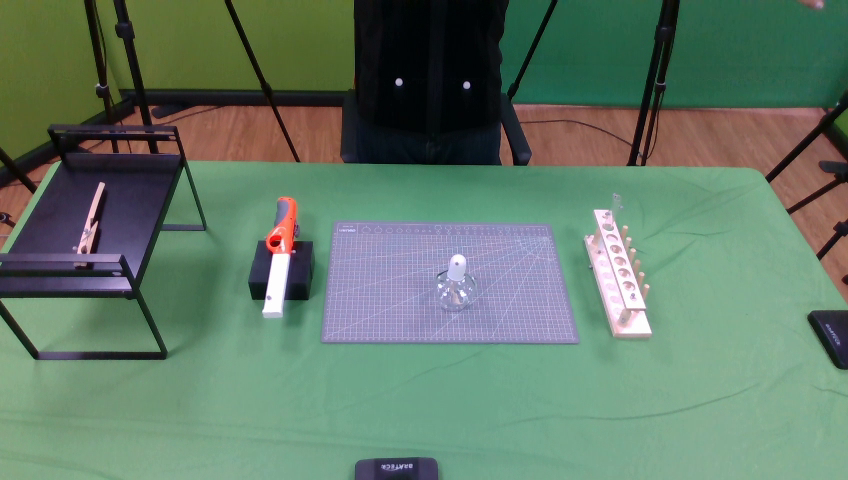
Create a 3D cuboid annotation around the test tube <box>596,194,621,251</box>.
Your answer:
[{"bbox_3d":[0.346,-0.029,1.141,0.017,0.151,0.017,0,50,0],"label":"test tube"}]

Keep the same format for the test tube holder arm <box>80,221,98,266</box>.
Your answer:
[{"bbox_3d":[-0.503,0.004,0.910,0.010,0.015,0.087,26,32,-36],"label":"test tube holder arm"}]

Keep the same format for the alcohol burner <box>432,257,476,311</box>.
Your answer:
[{"bbox_3d":[0.055,0.070,1.068,0.078,0.119,0.077,3,45,-3],"label":"alcohol burner"}]

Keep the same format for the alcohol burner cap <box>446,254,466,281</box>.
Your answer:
[{"bbox_3d":[0.058,0.044,1.042,0.034,0.048,0.033,4,45,-4],"label":"alcohol burner cap"}]

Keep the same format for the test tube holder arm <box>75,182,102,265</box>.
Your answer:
[{"bbox_3d":[-0.518,-0.030,0.937,0.013,0.015,0.177,25,33,-37],"label":"test tube holder arm"}]

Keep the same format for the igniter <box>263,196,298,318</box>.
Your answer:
[{"bbox_3d":[-0.259,0.020,1.089,0.057,0.025,0.274,-2,49,-3],"label":"igniter"}]

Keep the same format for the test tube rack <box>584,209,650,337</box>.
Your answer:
[{"bbox_3d":[0.365,0.056,1.129,0.067,0.085,0.240,1,46,-4],"label":"test tube rack"}]
